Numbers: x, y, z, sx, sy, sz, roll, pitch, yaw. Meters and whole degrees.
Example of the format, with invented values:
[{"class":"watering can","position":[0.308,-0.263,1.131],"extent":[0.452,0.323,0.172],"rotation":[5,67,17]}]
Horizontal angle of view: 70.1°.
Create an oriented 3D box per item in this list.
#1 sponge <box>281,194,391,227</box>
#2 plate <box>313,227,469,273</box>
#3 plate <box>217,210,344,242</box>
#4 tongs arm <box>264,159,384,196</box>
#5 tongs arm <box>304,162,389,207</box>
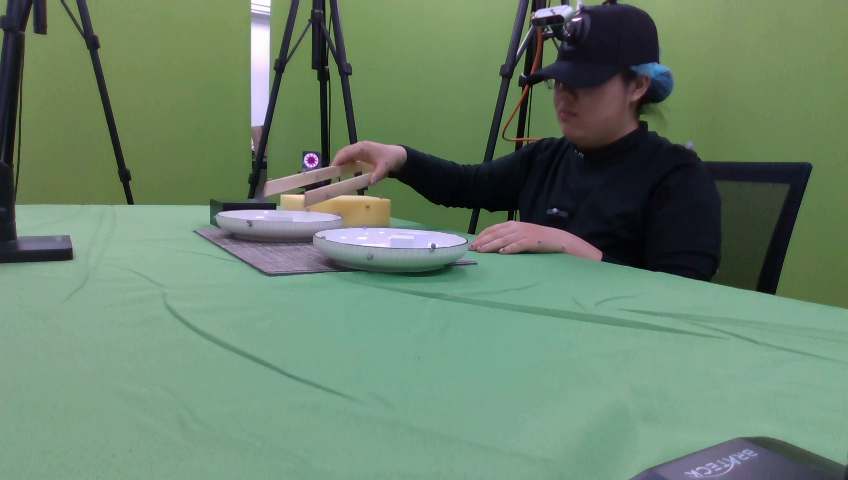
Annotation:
[{"class":"sponge","position":[-0.188,-0.063,1.291],"extent":[0.208,0.061,0.117],"rotation":[-2,9,-35]},{"class":"plate","position":[-0.044,0.012,0.807],"extent":[0.209,0.038,0.209],"rotation":[2,7,0]},{"class":"plate","position":[-0.241,-0.024,1.026],"extent":[0.208,0.039,0.207],"rotation":[3,7,0]},{"class":"tongs arm","position":[-0.168,-0.118,1.115],"extent":[0.050,0.026,0.385],"rotation":[14,17,14]},{"class":"tongs arm","position":[-0.129,-0.107,1.104],"extent":[0.028,0.028,0.388],"rotation":[10,16,14]}]
